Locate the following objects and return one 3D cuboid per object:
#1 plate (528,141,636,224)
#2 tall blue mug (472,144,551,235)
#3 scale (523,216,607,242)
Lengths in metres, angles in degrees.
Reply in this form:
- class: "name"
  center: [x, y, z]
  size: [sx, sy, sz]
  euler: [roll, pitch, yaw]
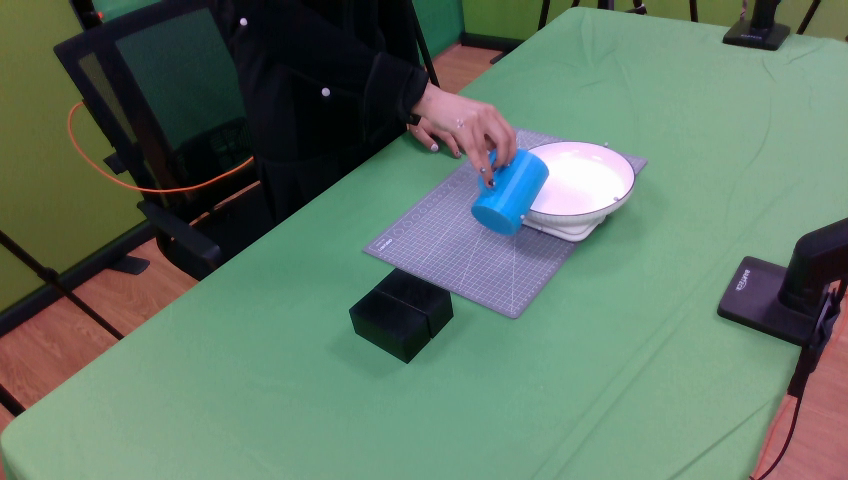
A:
- class: "plate"
  center: [0.234, -0.091, 0.982]
  size: [0.209, 0.038, 0.208]
  euler: [-6, 41, 5]
- class: "tall blue mug"
  center: [0.127, -0.079, 0.878]
  size: [0.077, 0.108, 0.108]
  euler: [26, 72, 19]
- class: "scale"
  center: [0.211, -0.070, 1.014]
  size: [0.199, 0.032, 0.149]
  euler: [23, 49, 33]
